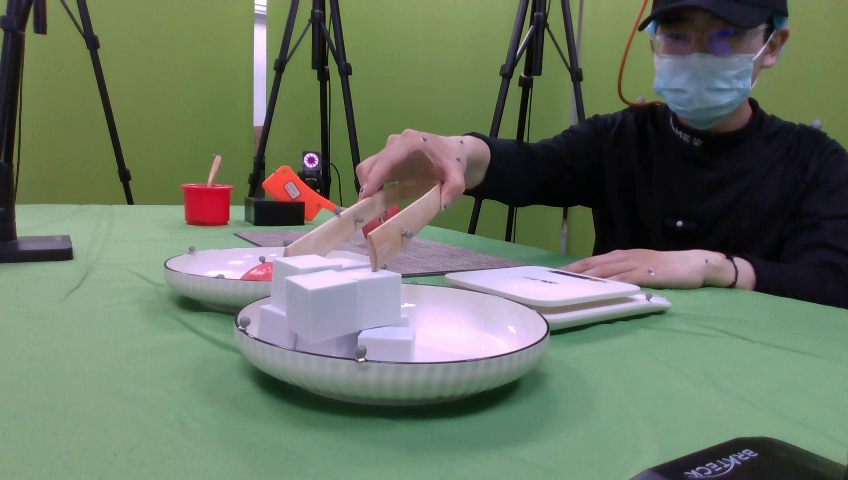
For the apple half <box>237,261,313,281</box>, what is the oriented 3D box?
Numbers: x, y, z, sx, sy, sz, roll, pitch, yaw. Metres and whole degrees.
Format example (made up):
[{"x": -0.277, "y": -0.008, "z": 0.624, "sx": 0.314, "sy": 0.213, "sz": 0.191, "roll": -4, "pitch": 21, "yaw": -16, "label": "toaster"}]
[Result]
[{"x": -0.141, "y": 0.035, "z": 0.578, "sx": 0.081, "sy": 0.033, "sz": 0.081, "roll": 2, "pitch": 11, "yaw": 0, "label": "apple half"}]

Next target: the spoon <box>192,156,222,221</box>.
[{"x": -0.430, "y": -0.108, "z": 1.222, "sx": 0.041, "sy": 0.021, "sz": 0.193, "roll": -2, "pitch": 52, "yaw": 1, "label": "spoon"}]

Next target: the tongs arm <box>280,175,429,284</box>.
[{"x": -0.042, "y": -0.026, "z": 0.565, "sx": 0.051, "sy": 0.026, "sz": 0.385, "roll": -5, "pitch": 11, "yaw": 8, "label": "tongs arm"}]

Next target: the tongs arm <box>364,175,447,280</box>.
[{"x": -0.008, "y": -0.027, "z": 0.558, "sx": 0.028, "sy": 0.028, "sz": 0.388, "roll": -8, "pitch": 11, "yaw": 10, "label": "tongs arm"}]

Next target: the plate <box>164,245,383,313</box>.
[{"x": -0.145, "y": 0.038, "z": 0.600, "sx": 0.209, "sy": 0.038, "sz": 0.209, "roll": 2, "pitch": 8, "yaw": 0, "label": "plate"}]

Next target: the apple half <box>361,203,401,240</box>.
[{"x": -0.066, "y": -0.032, "z": 1.014, "sx": 0.053, "sy": 0.074, "sz": 0.081, "roll": 9, "pitch": 6, "yaw": 21, "label": "apple half"}]

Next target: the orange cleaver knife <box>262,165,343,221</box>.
[{"x": -0.243, "y": -0.081, "z": 1.292, "sx": 0.212, "sy": 0.077, "sz": 0.012, "roll": 34, "pitch": -8, "yaw": -26, "label": "orange cleaver knife"}]

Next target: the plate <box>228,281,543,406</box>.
[{"x": -0.025, "y": 0.067, "z": 0.413, "sx": 0.208, "sy": 0.039, "sz": 0.207, "roll": 3, "pitch": 8, "yaw": 0, "label": "plate"}]

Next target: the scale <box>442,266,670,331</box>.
[{"x": 0.131, "y": 0.052, "z": 0.602, "sx": 0.202, "sy": 0.031, "sz": 0.148, "roll": -3, "pitch": 9, "yaw": -37, "label": "scale"}]
